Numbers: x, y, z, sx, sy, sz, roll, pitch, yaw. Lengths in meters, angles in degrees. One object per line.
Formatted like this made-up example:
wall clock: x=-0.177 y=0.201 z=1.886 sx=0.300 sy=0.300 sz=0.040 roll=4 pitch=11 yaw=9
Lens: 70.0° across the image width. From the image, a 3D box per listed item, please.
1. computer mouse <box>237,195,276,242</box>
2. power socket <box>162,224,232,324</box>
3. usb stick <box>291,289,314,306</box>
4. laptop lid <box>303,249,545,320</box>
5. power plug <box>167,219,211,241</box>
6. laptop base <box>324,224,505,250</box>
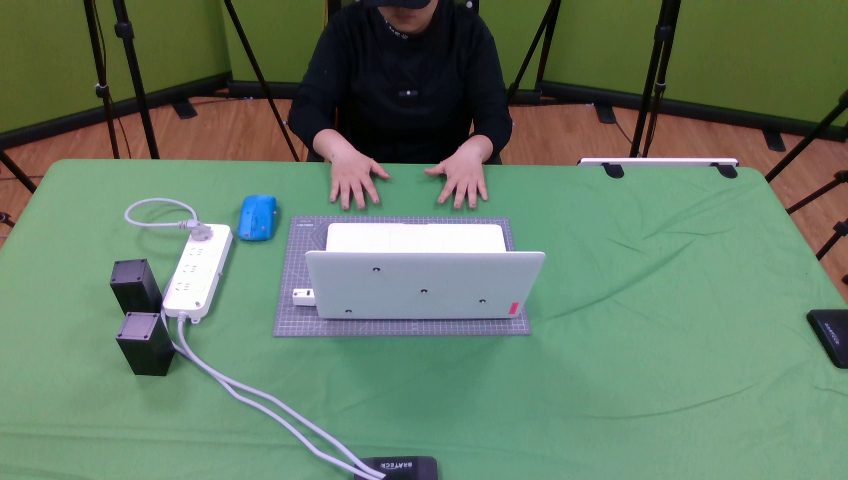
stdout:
computer mouse: x=-0.333 y=-0.047 z=1.207 sx=0.063 sy=0.041 sz=0.116 roll=3 pitch=50 yaw=-5
power socket: x=-0.411 y=0.052 z=1.106 sx=0.072 sy=0.033 sz=0.225 roll=3 pitch=45 yaw=-1
usb stick: x=-0.203 y=0.101 z=1.067 sx=0.059 sy=0.027 sz=0.021 roll=4 pitch=46 yaw=-5
laptop lid: x=-0.003 y=0.076 z=0.962 sx=0.357 sy=0.242 sz=0.013 roll=1 pitch=58 yaw=-5
power plug: x=-0.438 y=-0.017 z=1.143 sx=0.072 sy=0.053 sz=0.035 roll=10 pitch=43 yaw=7
laptop base: x=-0.014 y=0.055 z=1.144 sx=0.355 sy=0.023 sz=0.234 roll=0 pitch=42 yaw=-4
